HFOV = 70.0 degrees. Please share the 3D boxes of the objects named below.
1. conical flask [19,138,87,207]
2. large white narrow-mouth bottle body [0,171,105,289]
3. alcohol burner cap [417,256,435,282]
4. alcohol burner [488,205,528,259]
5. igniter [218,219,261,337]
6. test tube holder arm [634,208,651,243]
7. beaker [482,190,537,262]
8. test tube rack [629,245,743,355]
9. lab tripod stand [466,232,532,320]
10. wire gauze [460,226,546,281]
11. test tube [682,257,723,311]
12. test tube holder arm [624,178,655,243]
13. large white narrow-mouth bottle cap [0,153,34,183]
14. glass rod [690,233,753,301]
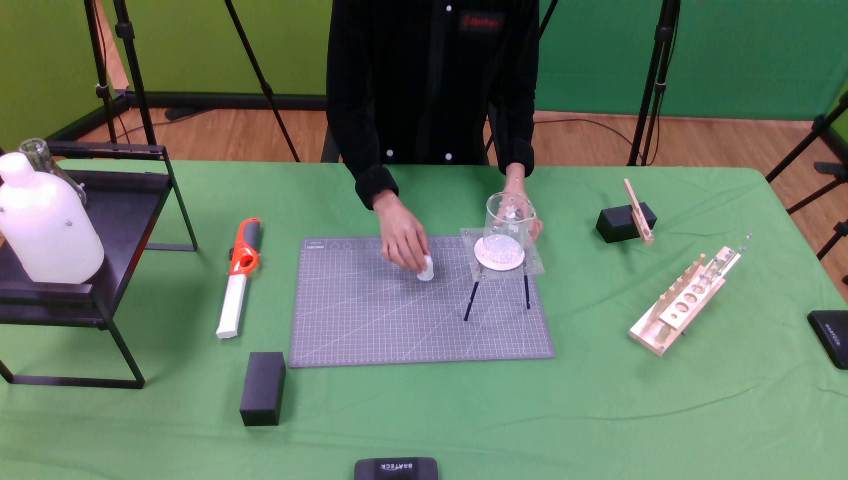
[{"bbox_3d":[-0.576,-0.097,0.930,0.075,0.122,0.075,2,46,-2],"label":"conical flask"},{"bbox_3d":[-0.513,-0.029,0.818,0.102,0.195,0.101,2,46,-2],"label":"large white narrow-mouth bottle body"},{"bbox_3d":[0.003,0.050,1.108,0.034,0.048,0.033,-1,39,1],"label":"alcohol burner cap"},{"bbox_3d":[0.163,-0.020,1.158,0.078,0.120,0.077,1,47,-1],"label":"alcohol burner"},{"bbox_3d":[-0.336,0.060,1.111,0.057,0.025,0.274,-8,46,4],"label":"igniter"},{"bbox_3d":[0.428,-0.030,1.189,0.010,0.015,0.087,1,47,-2],"label":"test tube holder arm"},{"bbox_3d":[0.136,-0.019,0.983,0.084,0.101,0.073,17,47,14],"label":"beaker"},{"bbox_3d":[0.474,0.095,1.091,0.242,0.085,0.066,-34,56,-31],"label":"test tube rack"},{"bbox_3d":[0.125,0.059,1.065,0.148,0.132,0.147,1,45,0],"label":"lab tripod stand"},{"bbox_3d":[0.130,0.017,1.016,0.121,0.011,0.124,-4,43,-9],"label":"wire gauze"},{"bbox_3d":[0.475,0.080,1.037,0.017,0.151,0.017,1,51,-1],"label":"test tube"},{"bbox_3d":[0.433,-0.062,1.220,0.013,0.015,0.177,0,47,-3],"label":"test tube holder arm"},{"bbox_3d":[-0.510,-0.090,0.754,0.038,0.024,0.037,2,46,-2],"label":"large white narrow-mouth bottle cap"},{"bbox_3d":[0.507,0.053,1.041,0.008,0.200,0.008,5,51,-6],"label":"glass rod"}]
